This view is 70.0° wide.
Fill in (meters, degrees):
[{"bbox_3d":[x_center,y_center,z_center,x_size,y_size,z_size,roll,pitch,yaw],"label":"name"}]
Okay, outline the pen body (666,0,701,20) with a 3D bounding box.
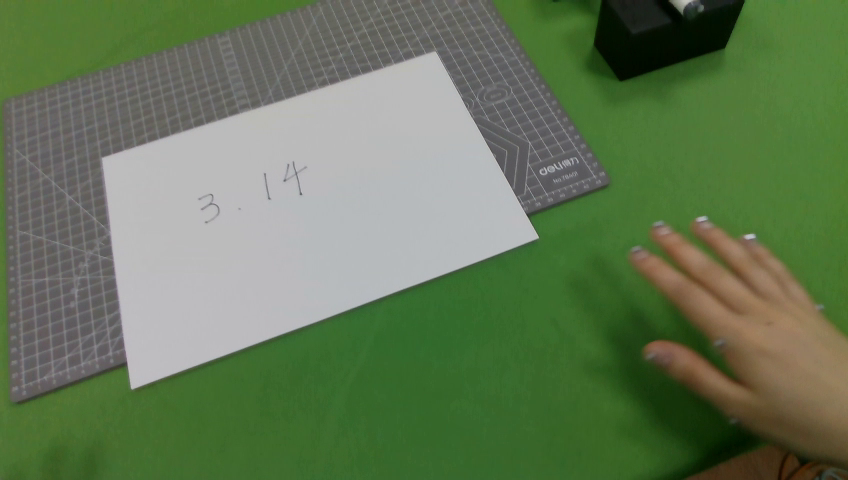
[{"bbox_3d":[0.180,-0.230,0.499,0.017,0.017,0.142,-21,61,-7],"label":"pen body"}]
